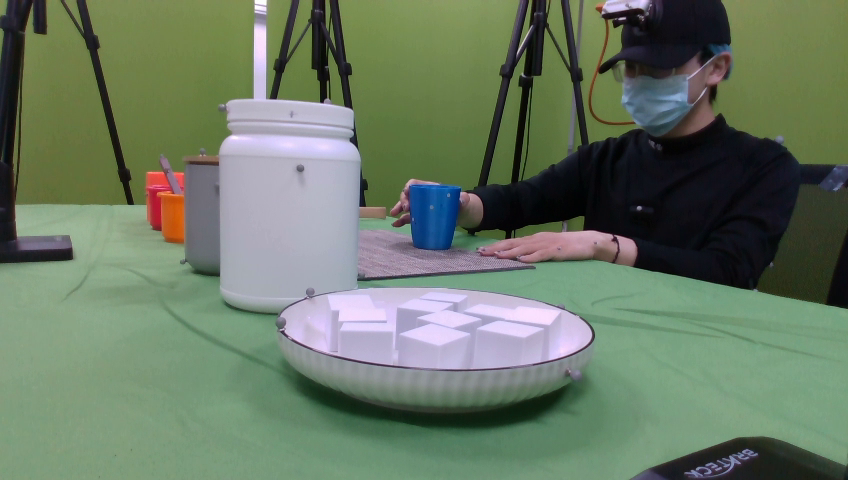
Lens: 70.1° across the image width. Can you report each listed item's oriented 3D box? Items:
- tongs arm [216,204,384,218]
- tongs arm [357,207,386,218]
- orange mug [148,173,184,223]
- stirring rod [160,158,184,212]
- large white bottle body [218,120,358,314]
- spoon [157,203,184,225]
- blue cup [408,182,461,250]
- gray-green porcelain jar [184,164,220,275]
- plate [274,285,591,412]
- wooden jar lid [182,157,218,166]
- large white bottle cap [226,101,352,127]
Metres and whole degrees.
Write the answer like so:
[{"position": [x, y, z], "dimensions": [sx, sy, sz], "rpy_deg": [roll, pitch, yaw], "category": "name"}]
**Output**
[{"position": [-0.288, -0.068, 1.435], "dimensions": [0.389, 0.027, 0.028], "rpy_deg": [0, -1, -17], "category": "tongs arm"}, {"position": [-0.251, -0.063, 1.360], "dimensions": [0.387, 0.026, 0.050], "rpy_deg": [-1, 3, -31], "category": "tongs arm"}, {"position": [-0.490, -0.087, 1.222], "dimensions": [0.127, 0.101, 0.083], "rpy_deg": [-9, 13, -38], "category": "orange mug"}, {"position": [-0.391, -0.070, 0.972], "dimensions": [0.014, 0.006, 0.175], "rpy_deg": [-1, 50, -49], "category": "stirring rod"}, {"position": [-0.128, -0.032, 0.578], "dimensions": [0.131, 0.184, 0.130], "rpy_deg": [2, 7, 0], "category": "large white bottle body"}, {"position": [-0.425, -0.094, 1.117], "dimensions": [0.041, 0.022, 0.194], "rpy_deg": [5, 51, 28], "category": "spoon"}, {"position": [0.014, -0.039, 0.969], "dimensions": [0.093, 0.100, 0.092], "rpy_deg": [4, 10, 0], "category": "blue cup"}, {"position": [-0.230, -0.025, 0.722], "dimensions": [0.106, 0.126, 0.106], "rpy_deg": [3, 7, 0], "category": "gray-green porcelain jar"}, {"position": [0.005, 0.069, 0.408], "dimensions": [0.208, 0.039, 0.207], "rpy_deg": [2, 7, 0], "category": "plate"}, {"position": [-0.227, -0.086, 0.714], "dimensions": [0.108, 0.020, 0.108], "rpy_deg": [1, 6, 0], "category": "wooden jar lid"}, {"position": [-0.125, -0.116, 0.566], "dimensions": [0.115, 0.018, 0.115], "rpy_deg": [2, 8, 0], "category": "large white bottle cap"}]
